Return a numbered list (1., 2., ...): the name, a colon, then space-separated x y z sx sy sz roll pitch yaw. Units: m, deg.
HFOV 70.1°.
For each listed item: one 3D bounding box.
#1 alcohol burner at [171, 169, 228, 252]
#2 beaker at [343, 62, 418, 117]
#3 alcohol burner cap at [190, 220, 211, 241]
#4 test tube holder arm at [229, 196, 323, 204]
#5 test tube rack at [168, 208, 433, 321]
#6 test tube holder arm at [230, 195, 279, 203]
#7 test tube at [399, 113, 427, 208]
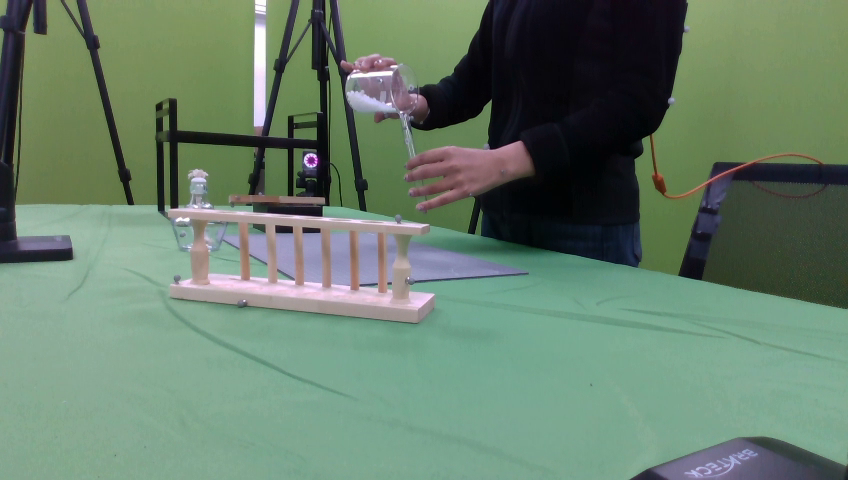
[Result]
1. alcohol burner: -0.325 -0.043 0.875 0.078 0.119 0.078 0 7 0
2. beaker: -0.071 -0.237 0.964 0.100 0.084 0.074 6 12 35
3. alcohol burner cap: -0.365 -0.023 0.988 0.034 0.048 0.034 1 7 0
4. test tube holder arm: -0.276 -0.076 1.143 0.179 0.015 0.013 -2 0 -32
5. test tube rack: -0.115 0.017 0.574 0.242 0.085 0.067 4 8 13
6. test tube holder arm: -0.311 -0.075 1.115 0.088 0.015 0.010 -2 0 -31
7. test tube: -0.017 -0.124 0.943 0.017 0.150 0.017 -12 -1 0
